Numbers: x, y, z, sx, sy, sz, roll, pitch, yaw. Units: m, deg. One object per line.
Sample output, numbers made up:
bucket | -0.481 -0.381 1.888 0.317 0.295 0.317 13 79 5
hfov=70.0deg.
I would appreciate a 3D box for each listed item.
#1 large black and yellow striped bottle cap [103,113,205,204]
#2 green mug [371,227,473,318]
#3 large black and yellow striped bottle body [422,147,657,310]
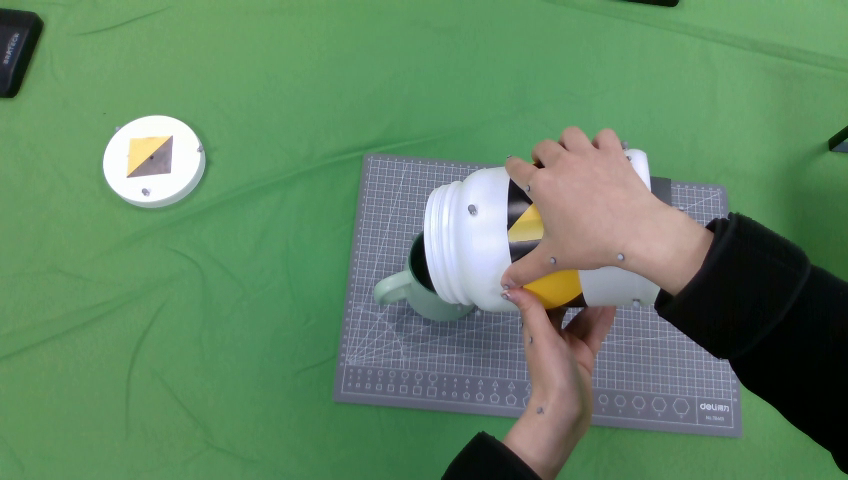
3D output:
large black and yellow striped bottle cap | -0.323 -0.098 0.725 0.115 0.019 0.114 1 72 -2
green mug | 0.004 0.038 0.648 0.125 0.105 0.092 -20 74 -8
large black and yellow striped bottle body | 0.102 -0.006 0.529 0.183 0.132 0.130 -5 71 20
